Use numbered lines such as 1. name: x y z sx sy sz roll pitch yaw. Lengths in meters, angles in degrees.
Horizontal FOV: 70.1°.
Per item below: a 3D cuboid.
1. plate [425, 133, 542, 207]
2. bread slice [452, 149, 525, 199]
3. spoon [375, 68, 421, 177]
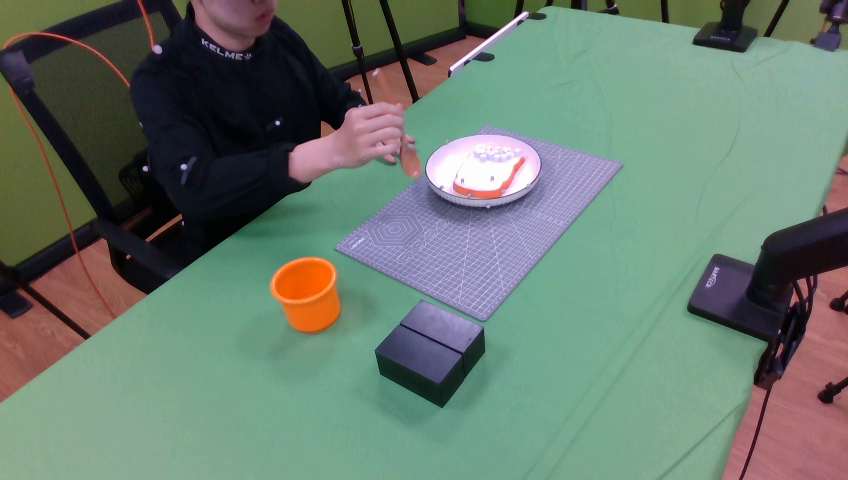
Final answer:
1. plate: 0.106 -0.121 1.079 0.209 0.038 0.208 -4 41 4
2. bread slice: 0.112 -0.119 1.079 0.104 0.019 0.131 12 44 21
3. spoon: -0.039 -0.179 0.940 0.021 0.195 0.042 19 52 35
